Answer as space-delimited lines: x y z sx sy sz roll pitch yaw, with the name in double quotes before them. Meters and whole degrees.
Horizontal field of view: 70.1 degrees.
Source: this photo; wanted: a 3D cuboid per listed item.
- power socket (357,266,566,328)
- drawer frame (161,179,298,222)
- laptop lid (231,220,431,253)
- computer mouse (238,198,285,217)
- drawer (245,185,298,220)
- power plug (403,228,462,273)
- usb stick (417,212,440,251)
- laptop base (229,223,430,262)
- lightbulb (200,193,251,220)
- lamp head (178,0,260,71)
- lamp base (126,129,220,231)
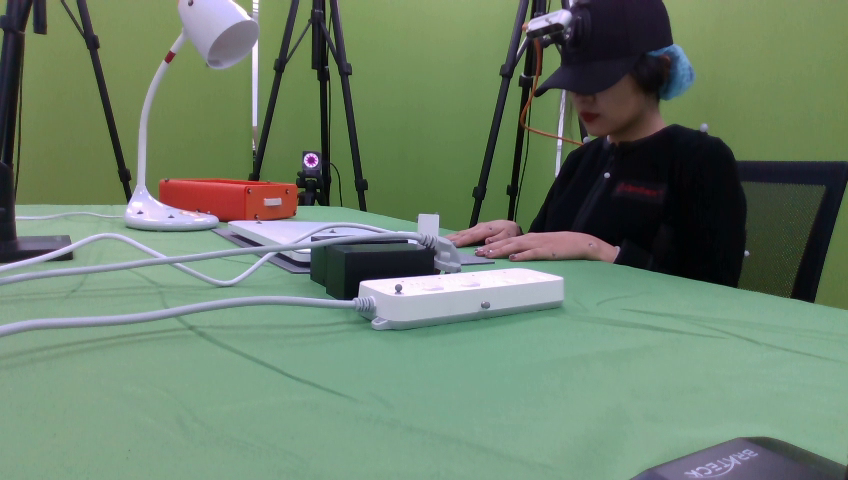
"power socket" 0.042 0.049 0.573 0.228 0.032 0.072 -3 8 -34
"drawer frame" -0.420 -0.089 1.328 0.213 0.082 0.202 4 8 18
"laptop lid" -0.142 -0.009 0.942 0.243 0.013 0.355 1 7 -31
"computer mouse" -0.354 -0.072 1.326 0.063 0.041 0.117 3 2 12
"drawer" -0.416 -0.087 1.329 0.211 0.073 0.195 4 8 18
"power plug" 0.006 0.016 0.647 0.073 0.052 0.035 17 12 -5
"usb stick" 0.005 -0.003 0.721 0.027 0.059 0.021 0 -3 -2
"laptop base" -0.145 0.002 0.943 0.237 0.023 0.352 2 6 -32
"lightbulb" -0.433 -0.079 1.320 0.108 0.059 0.059 -17 13 -16
"lamp head" -0.365 -0.368 1.038 0.123 0.112 0.112 42 14 6
"lamp base" -0.470 -0.111 1.105 0.179 0.180 0.160 1 7 6
